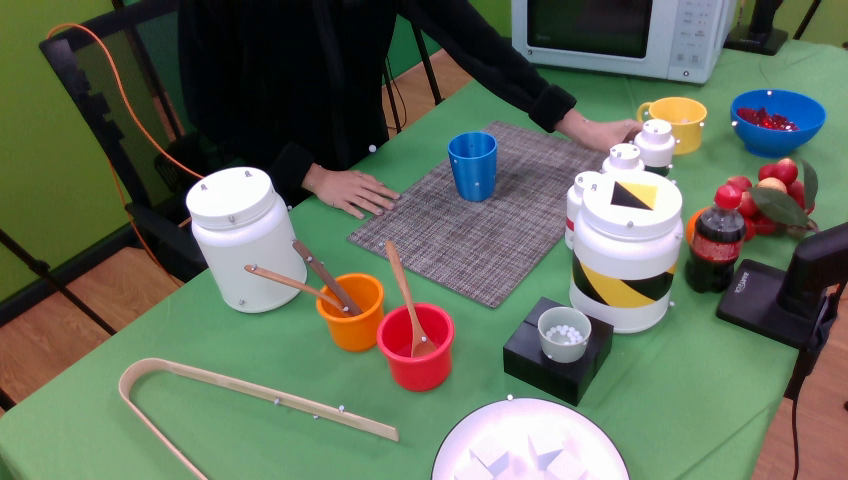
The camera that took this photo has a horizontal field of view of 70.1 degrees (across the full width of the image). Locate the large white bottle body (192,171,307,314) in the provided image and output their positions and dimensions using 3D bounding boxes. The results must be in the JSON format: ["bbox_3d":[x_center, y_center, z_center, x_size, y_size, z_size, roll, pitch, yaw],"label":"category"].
[{"bbox_3d":[-0.256,0.003,0.885,0.130,0.185,0.130,-4,40,4],"label":"large white bottle body"}]

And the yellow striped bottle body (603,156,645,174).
[{"bbox_3d":[0.313,-0.089,0.956,0.063,0.121,0.062,-4,40,4],"label":"yellow striped bottle body"}]

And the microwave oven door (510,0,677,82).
[{"bbox_3d":[0.352,-0.477,1.289,0.353,0.245,0.039,15,44,25],"label":"microwave oven door"}]

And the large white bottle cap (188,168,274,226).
[{"bbox_3d":[-0.264,-0.061,0.831,0.115,0.018,0.114,-4,40,4],"label":"large white bottle cap"}]

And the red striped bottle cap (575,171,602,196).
[{"bbox_3d":[0.242,-0.081,0.876,0.044,0.018,0.044,-5,44,5],"label":"red striped bottle cap"}]

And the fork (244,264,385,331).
[{"bbox_3d":[-0.142,0.078,0.806,0.209,0.018,0.028,30,33,-24],"label":"fork"}]

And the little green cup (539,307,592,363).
[{"bbox_3d":[0.168,0.115,0.721,0.061,0.039,0.061,-4,42,4],"label":"little green cup"}]

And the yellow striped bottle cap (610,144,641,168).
[{"bbox_3d":[0.307,-0.128,0.923,0.044,0.019,0.044,-5,40,5],"label":"yellow striped bottle cap"}]

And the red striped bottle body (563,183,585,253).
[{"bbox_3d":[0.246,-0.041,0.910,0.063,0.120,0.062,-2,38,2],"label":"red striped bottle body"}]

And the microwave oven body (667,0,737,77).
[{"bbox_3d":[0.462,-0.552,1.369,0.439,0.261,0.326,15,45,26],"label":"microwave oven body"}]

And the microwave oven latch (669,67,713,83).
[{"bbox_3d":[0.556,-0.348,1.261,0.078,0.029,0.030,16,46,27],"label":"microwave oven latch"}]

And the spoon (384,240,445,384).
[{"bbox_3d":[-0.016,0.090,0.776,0.042,0.021,0.193,-17,85,-10],"label":"spoon"}]

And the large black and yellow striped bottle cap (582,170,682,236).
[{"bbox_3d":[0.252,-0.048,0.735,0.115,0.019,0.114,-3,40,3],"label":"large black and yellow striped bottle cap"}]

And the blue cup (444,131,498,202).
[{"bbox_3d":[0.087,-0.122,1.040,0.092,0.100,0.092,-4,43,5],"label":"blue cup"}]

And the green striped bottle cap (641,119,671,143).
[{"bbox_3d":[0.371,-0.174,0.966,0.044,0.020,0.044,-1,43,1],"label":"green striped bottle cap"}]

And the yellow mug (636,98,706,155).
[{"bbox_3d":[0.453,-0.217,1.128,0.100,0.064,0.129,-34,46,-27],"label":"yellow mug"}]

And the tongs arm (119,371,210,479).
[{"bbox_3d":[-0.258,0.257,0.700,0.384,0.028,0.028,24,55,34],"label":"tongs arm"}]

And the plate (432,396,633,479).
[{"bbox_3d":[0.112,0.261,0.634,0.209,0.038,0.208,-5,40,4],"label":"plate"}]

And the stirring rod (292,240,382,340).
[{"bbox_3d":[-0.119,0.068,0.825,0.176,0.006,0.014,49,58,-3],"label":"stirring rod"}]

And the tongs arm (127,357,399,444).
[{"bbox_3d":[-0.213,0.205,0.755,0.382,0.026,0.051,12,46,23],"label":"tongs arm"}]

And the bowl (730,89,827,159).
[{"bbox_3d":[0.615,-0.197,1.069,0.151,0.077,0.150,-5,40,5],"label":"bowl"}]

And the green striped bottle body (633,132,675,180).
[{"bbox_3d":[0.376,-0.135,0.999,0.063,0.120,0.063,-4,40,4],"label":"green striped bottle body"}]

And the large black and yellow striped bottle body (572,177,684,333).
[{"bbox_3d":[0.262,0.017,0.788,0.131,0.185,0.130,-5,40,4],"label":"large black and yellow striped bottle body"}]
